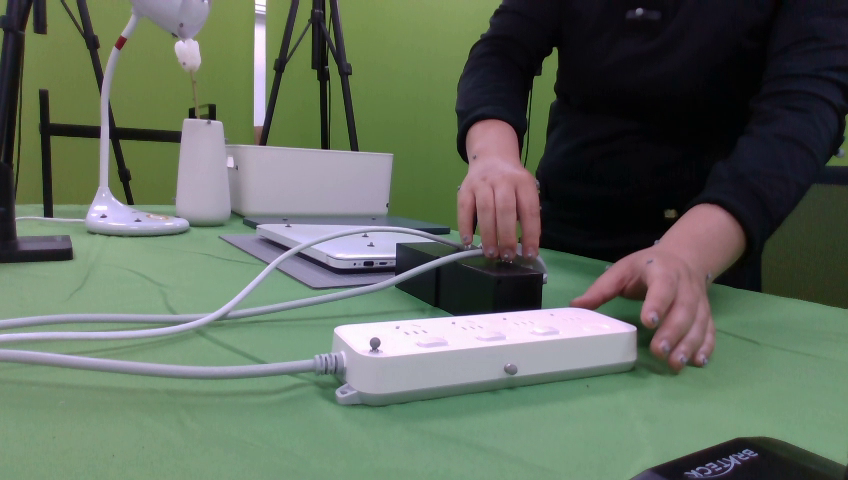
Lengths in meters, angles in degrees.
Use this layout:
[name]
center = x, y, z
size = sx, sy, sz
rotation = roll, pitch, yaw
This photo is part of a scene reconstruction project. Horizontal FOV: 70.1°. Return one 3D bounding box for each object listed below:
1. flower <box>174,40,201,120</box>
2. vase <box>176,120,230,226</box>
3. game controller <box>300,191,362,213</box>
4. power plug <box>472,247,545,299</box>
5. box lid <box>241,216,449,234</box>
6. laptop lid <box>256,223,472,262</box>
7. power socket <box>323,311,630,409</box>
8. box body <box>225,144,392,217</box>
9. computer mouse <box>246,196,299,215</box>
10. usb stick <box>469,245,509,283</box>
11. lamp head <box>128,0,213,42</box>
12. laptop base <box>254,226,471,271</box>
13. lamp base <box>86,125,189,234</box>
[flower]
center = -0.430, -0.211, 1.165
size = 0.044, 0.361, 0.038
rotation = -10, -5, -22
[vase]
center = -0.425, -0.128, 1.159
size = 0.098, 0.200, 0.098
rotation = 2, 9, 0
[game controller]
center = -0.241, -0.098, 1.550
size = 0.155, 0.051, 0.097
rotation = 3, 8, 5
[power plug]
center = 0.080, 0.030, 0.585
size = 0.072, 0.052, 0.035
rotation = 13, 29, 8
[box lid]
center = -0.162, -0.030, 1.233
size = 0.373, 0.015, 0.262
rotation = -1, 8, -32
[laptop lid]
center = -0.093, 0.000, 0.912
size = 0.243, 0.013, 0.355
rotation = 1, 7, -30
[power socket]
center = 0.041, 0.075, 0.410
size = 0.228, 0.032, 0.072
rotation = -1, 8, -26
[box body]
center = -0.289, -0.143, 1.475
size = 0.366, 0.160, 0.253
rotation = -1, 9, -29
[computer mouse]
center = -0.355, -0.082, 1.418
size = 0.117, 0.041, 0.063
rotation = 1, 9, 7
[usb stick]
center = 0.080, 0.029, 0.674
size = 0.059, 0.021, 0.027
rotation = 28, 27, -29
[lamp head]
center = -0.423, -0.395, 0.980
size = 0.123, 0.112, 0.112
rotation = 20, 7, -3
[laptop base]
center = -0.096, 0.011, 0.912
size = 0.237, 0.023, 0.352
rotation = 2, 7, -32
[lamp base]
center = -0.498, -0.105, 1.027
size = 0.179, 0.180, 0.160
rotation = 1, 7, 3
